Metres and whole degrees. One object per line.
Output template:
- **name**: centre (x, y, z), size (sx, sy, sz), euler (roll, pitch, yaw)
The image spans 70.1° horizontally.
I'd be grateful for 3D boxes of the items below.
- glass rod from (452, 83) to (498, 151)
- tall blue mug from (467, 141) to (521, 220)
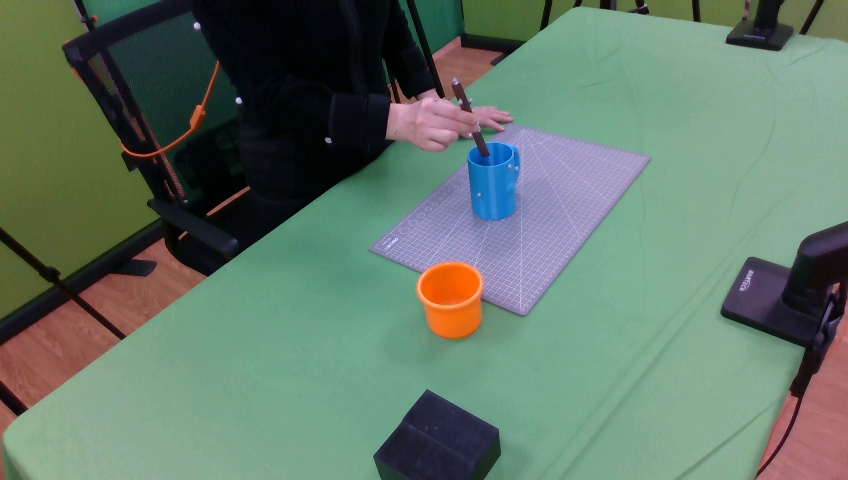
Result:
- **glass rod**: centre (0.078, -0.176, 0.894), size (0.008, 0.201, 0.008), euler (-8, 69, 21)
- **tall blue mug**: centre (0.119, -0.109, 1.020), size (0.077, 0.108, 0.107), euler (3, 42, 15)
